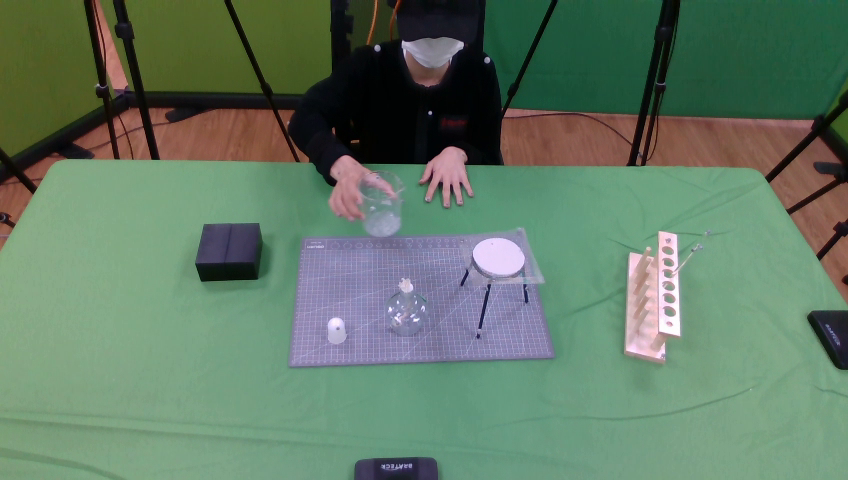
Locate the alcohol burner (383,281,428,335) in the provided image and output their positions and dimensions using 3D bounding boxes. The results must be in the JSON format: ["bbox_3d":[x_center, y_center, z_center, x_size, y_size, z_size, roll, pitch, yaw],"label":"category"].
[{"bbox_3d":[-0.030,0.108,1.024,0.078,0.119,0.077,2,48,-2],"label":"alcohol burner"}]

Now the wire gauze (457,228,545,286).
[{"bbox_3d":[0.126,0.028,1.006,0.125,0.011,0.120,-4,46,-10],"label":"wire gauze"}]

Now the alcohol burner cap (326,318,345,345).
[{"bbox_3d":[-0.149,0.151,1.023,0.034,0.048,0.033,3,46,-3],"label":"alcohol burner cap"}]

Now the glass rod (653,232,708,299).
[{"bbox_3d":[0.441,0.049,1.050,0.008,0.200,0.008,4,52,-5],"label":"glass rod"}]

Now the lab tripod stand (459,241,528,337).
[{"bbox_3d":[0.122,0.075,1.054,0.148,0.132,0.147,3,44,-3],"label":"lab tripod stand"}]

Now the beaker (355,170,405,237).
[{"bbox_3d":[-0.074,-0.060,1.052,0.084,0.101,0.073,-1,49,-1],"label":"beaker"}]

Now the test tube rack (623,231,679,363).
[{"bbox_3d":[0.410,0.094,1.096,0.066,0.085,0.241,13,46,9],"label":"test tube rack"}]
